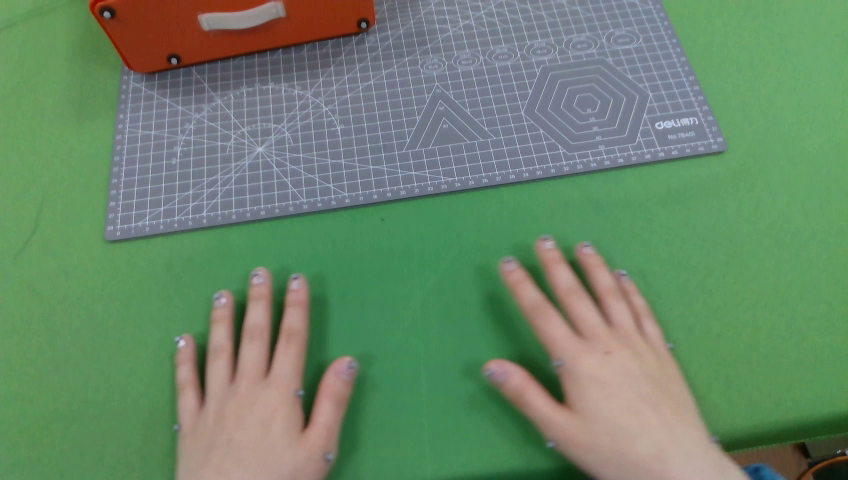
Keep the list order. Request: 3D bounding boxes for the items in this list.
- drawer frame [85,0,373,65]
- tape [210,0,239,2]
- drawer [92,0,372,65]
[{"bbox_3d":[-0.161,-0.262,0.500,0.202,0.083,0.211,-13,63,-5],"label":"drawer frame"},{"bbox_3d":[-0.163,-0.260,0.508,0.117,0.053,0.116,0,64,1],"label":"tape"},{"bbox_3d":[-0.159,-0.259,0.499,0.194,0.074,0.210,-13,64,-4],"label":"drawer"}]
